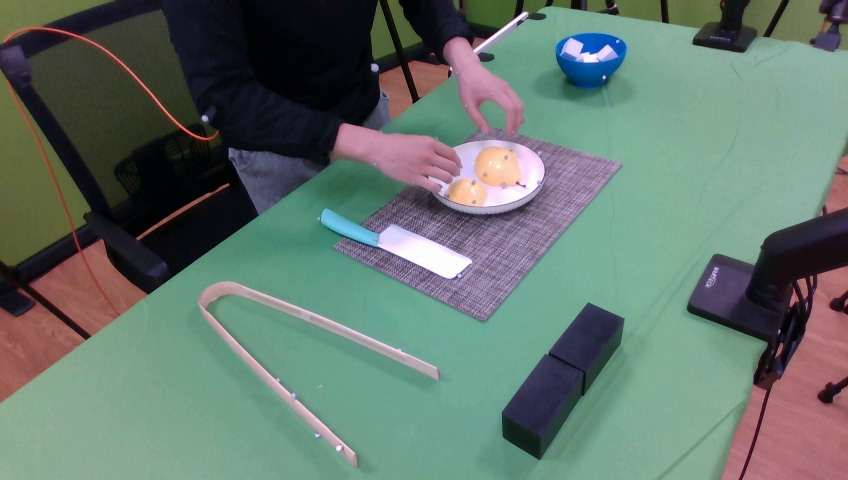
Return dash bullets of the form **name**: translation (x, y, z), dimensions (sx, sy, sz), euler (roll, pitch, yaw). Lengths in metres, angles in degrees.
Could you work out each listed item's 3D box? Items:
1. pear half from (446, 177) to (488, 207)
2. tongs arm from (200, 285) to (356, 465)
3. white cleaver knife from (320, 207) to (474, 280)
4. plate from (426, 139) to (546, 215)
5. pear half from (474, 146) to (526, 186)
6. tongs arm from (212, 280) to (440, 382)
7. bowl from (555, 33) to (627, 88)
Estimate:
- **pear half**: translation (0.073, -0.086, 1.032), dimensions (0.070, 0.031, 0.087), euler (-20, 35, -9)
- **tongs arm**: translation (-0.199, 0.162, 0.797), dimensions (0.381, 0.026, 0.051), euler (28, 50, 35)
- **white cleaver knife**: translation (-0.052, -0.001, 0.977), dimensions (0.284, 0.021, 0.066), euler (24, 45, 26)
- **plate**: translation (0.109, -0.107, 1.059), dimensions (0.207, 0.039, 0.206), euler (-4, 41, 4)
- **pear half**: translation (0.140, -0.129, 1.059), dimensions (0.076, 0.056, 0.109), euler (-37, 52, -23)
- **tongs arm**: translation (-0.147, 0.121, 0.846), dimensions (0.385, 0.028, 0.028), euler (17, 48, 26)
- **bowl**: translation (0.360, -0.384, 1.317), dimensions (0.151, 0.077, 0.150), euler (-4, 41, 4)
